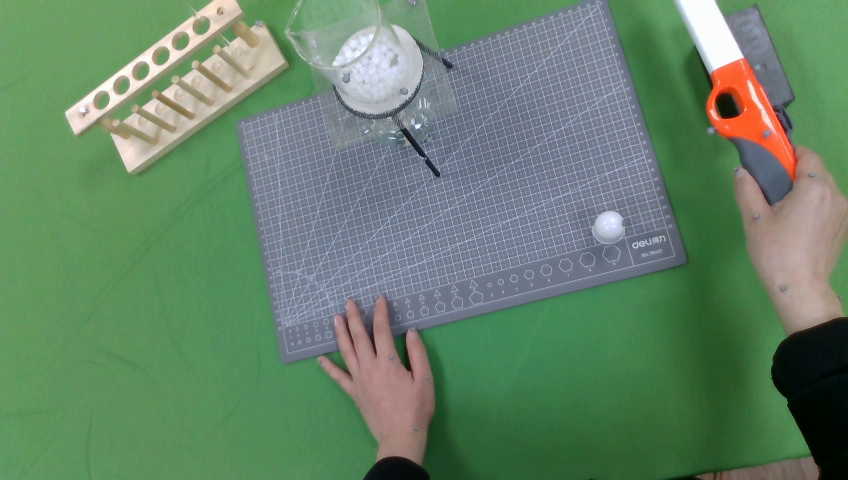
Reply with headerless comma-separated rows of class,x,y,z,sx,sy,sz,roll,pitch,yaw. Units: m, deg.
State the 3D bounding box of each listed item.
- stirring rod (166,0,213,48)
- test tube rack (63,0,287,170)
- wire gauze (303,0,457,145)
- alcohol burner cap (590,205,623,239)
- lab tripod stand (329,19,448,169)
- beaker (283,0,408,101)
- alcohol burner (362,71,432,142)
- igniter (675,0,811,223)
stirring rod,-0.270,-0.255,0.639,0.006,0.177,0.014,-31,71,2
test tube rack,-0.292,-0.184,0.717,0.242,0.085,0.066,-32,77,8
wire gauze,-0.044,-0.160,0.558,0.125,0.011,0.121,-16,84,9
alcohol burner cap,0.183,-0.020,0.603,0.034,0.048,0.034,-2,83,13
lab tripod stand,-0.029,-0.151,0.621,0.148,0.132,0.148,-1,84,12
beaker,-0.061,-0.165,0.512,0.084,0.101,0.074,-2,84,14
alcohol burner,-0.033,-0.145,0.632,0.078,0.119,0.077,-2,82,12
igniter,0.268,-0.147,0.531,0.057,0.025,0.275,-22,77,16
